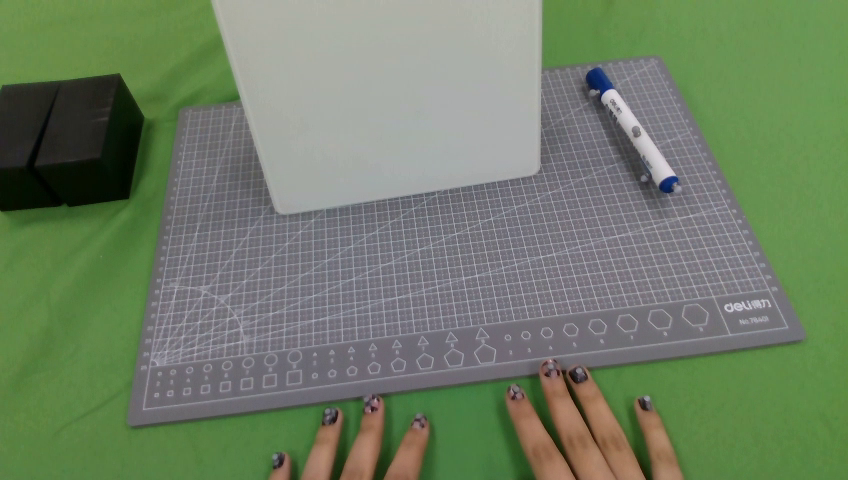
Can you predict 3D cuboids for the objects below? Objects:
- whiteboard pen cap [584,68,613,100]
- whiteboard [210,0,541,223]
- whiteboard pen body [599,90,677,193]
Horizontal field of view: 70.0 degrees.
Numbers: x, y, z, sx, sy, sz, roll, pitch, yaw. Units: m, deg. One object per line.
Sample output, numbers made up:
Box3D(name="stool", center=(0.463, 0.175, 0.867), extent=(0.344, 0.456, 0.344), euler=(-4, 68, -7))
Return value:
Box3D(name="whiteboard pen cap", center=(0.156, -0.137, 0.540), extent=(0.018, 0.018, 0.033), euler=(-12, 53, -6))
Box3D(name="whiteboard", center=(-0.035, -0.193, 0.451), extent=(0.217, 0.308, 0.142), euler=(-9, 35, -2))
Box3D(name="whiteboard pen body", center=(0.171, -0.092, 0.504), extent=(0.017, 0.017, 0.139), euler=(-13, 53, -7))
